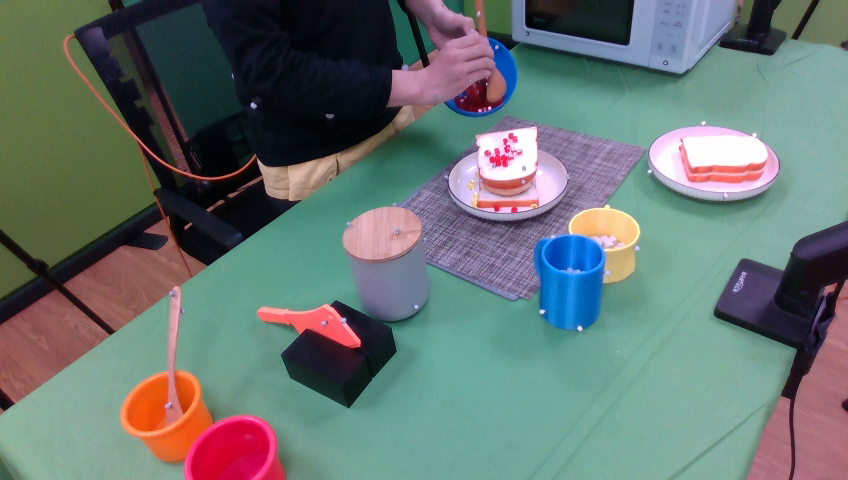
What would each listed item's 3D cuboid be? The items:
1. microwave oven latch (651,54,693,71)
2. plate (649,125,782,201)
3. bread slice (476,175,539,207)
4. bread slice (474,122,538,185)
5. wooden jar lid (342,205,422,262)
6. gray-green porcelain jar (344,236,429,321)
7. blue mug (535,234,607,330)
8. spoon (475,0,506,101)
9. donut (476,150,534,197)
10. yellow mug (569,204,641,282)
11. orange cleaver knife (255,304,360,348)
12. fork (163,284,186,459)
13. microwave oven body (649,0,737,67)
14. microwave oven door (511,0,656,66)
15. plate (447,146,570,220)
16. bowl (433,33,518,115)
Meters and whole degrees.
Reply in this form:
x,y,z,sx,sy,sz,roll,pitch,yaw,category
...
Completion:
x,y,z,sx,sy,sz,roll,pitch,yaw,category
0.532,-0.386,1.301,0.078,0.029,0.030,26,52,34,microwave oven latch
0.493,-0.128,1.036,0.207,0.039,0.206,-4,41,4,plate
0.144,-0.104,1.058,0.105,0.019,0.131,-1,42,5,bread slice
0.141,-0.144,1.008,0.107,0.018,0.133,-8,48,8,bread slice
-0.055,-0.006,0.808,0.108,0.021,0.108,-6,40,6,wooden jar lid
-0.049,0.042,0.849,0.106,0.127,0.105,-4,41,4,gray-green porcelain jar
0.190,0.048,0.824,0.082,0.106,0.115,-26,44,-21,blue mug
0.104,-0.311,0.990,0.042,0.195,0.021,-30,41,-10,spoon
0.138,-0.116,1.025,0.099,0.048,0.098,-8,55,13,donut
0.268,-0.005,0.904,0.099,0.064,0.130,7,41,15,yellow mug
-0.161,0.115,0.813,0.210,0.077,0.012,-4,32,47,orange cleaver knife
-0.302,0.157,0.733,0.028,0.019,0.207,-3,84,15,fork
0.475,-0.602,1.411,0.438,0.261,0.327,23,50,32,microwave oven body
0.351,-0.539,1.349,0.353,0.245,0.039,24,50,31,microwave oven door
0.145,-0.098,1.046,0.209,0.038,0.208,-4,41,4,plate
0.090,-0.287,1.098,0.151,0.077,0.151,0,78,-1,bowl
